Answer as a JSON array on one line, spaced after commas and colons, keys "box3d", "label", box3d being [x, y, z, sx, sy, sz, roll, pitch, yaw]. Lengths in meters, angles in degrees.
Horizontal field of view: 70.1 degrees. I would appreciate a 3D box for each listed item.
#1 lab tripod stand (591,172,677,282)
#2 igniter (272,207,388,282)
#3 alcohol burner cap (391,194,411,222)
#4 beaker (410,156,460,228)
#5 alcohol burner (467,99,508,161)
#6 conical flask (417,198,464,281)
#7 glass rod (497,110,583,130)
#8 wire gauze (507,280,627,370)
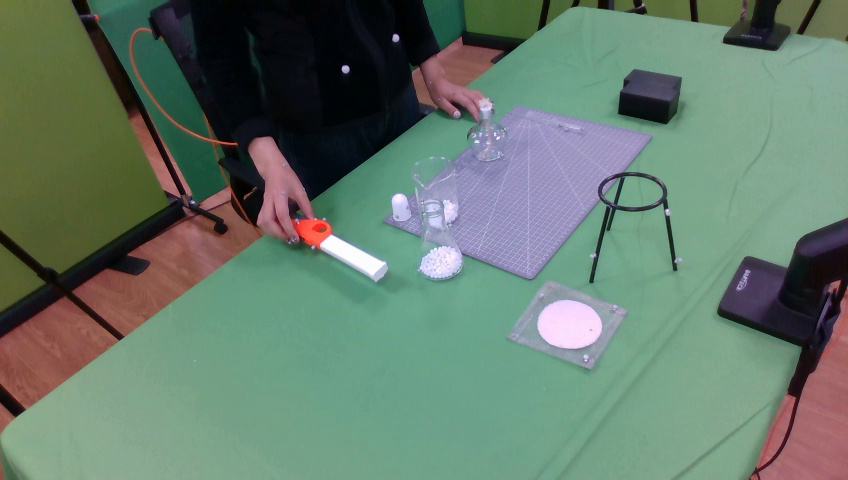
[{"box3d": [0.292, -0.022, 0.867, 0.148, 0.132, 0.147, -7, 39, 6], "label": "lab tripod stand"}, {"box3d": [-0.162, 0.001, 0.981, 0.274, 0.025, 0.057, 26, 56, 36], "label": "igniter"}, {"box3d": [-0.041, -0.057, 1.040, 0.034, 0.048, 0.033, -6, 41, 5], "label": "alcohol burner cap"}, {"box3d": [0.020, -0.076, 1.006, 0.074, 0.101, 0.084, 3, 42, 15], "label": "beaker"}, {"box3d": [0.119, -0.210, 1.134, 0.078, 0.119, 0.077, -4, 39, 4], "label": "alcohol burner"}, {"box3d": [0.019, -0.004, 0.907, 0.075, 0.122, 0.075, -5, 40, 5], "label": "conical flask"}, {"box3d": [0.233, -0.245, 1.235, 0.198, 0.008, 0.008, 21, 49, 35], "label": "glass rod"}, {"box3d": [0.196, 0.114, 0.823, 0.120, 0.011, 0.125, 20, 50, 31], "label": "wire gauze"}]
